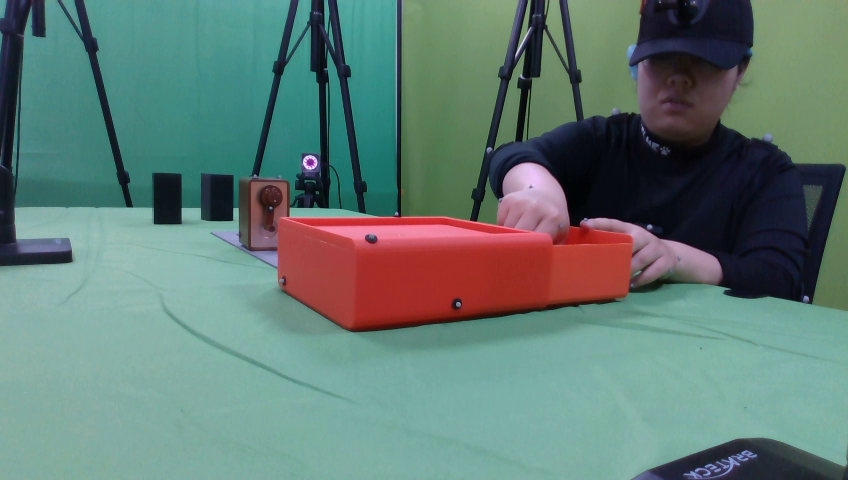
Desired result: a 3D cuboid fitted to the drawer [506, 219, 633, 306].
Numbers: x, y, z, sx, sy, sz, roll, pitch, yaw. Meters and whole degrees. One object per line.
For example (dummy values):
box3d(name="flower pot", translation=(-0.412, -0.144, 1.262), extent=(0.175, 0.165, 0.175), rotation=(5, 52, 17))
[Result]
box3d(name="drawer", translation=(0.086, 0.021, 0.673), extent=(0.213, 0.073, 0.193), rotation=(-2, 9, -32))

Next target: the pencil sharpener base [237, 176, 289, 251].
box3d(name="pencil sharpener base", translation=(-0.243, -0.040, 0.911), extent=(0.061, 0.107, 0.076), rotation=(-1, 8, -28))

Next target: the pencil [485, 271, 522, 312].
box3d(name="pencil", translation=(0.088, 0.056, 0.681), extent=(0.012, 0.012, 0.194), rotation=(2, 7, -4))

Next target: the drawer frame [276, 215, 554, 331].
box3d(name="drawer frame", translation=(-0.015, 0.022, 0.610), extent=(0.215, 0.082, 0.200), rotation=(-2, 9, -32))

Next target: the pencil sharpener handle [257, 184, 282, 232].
box3d(name="pencil sharpener handle", translation=(-0.220, -0.046, 0.865), extent=(0.036, 0.067, 0.030), rotation=(8, 4, -29))
